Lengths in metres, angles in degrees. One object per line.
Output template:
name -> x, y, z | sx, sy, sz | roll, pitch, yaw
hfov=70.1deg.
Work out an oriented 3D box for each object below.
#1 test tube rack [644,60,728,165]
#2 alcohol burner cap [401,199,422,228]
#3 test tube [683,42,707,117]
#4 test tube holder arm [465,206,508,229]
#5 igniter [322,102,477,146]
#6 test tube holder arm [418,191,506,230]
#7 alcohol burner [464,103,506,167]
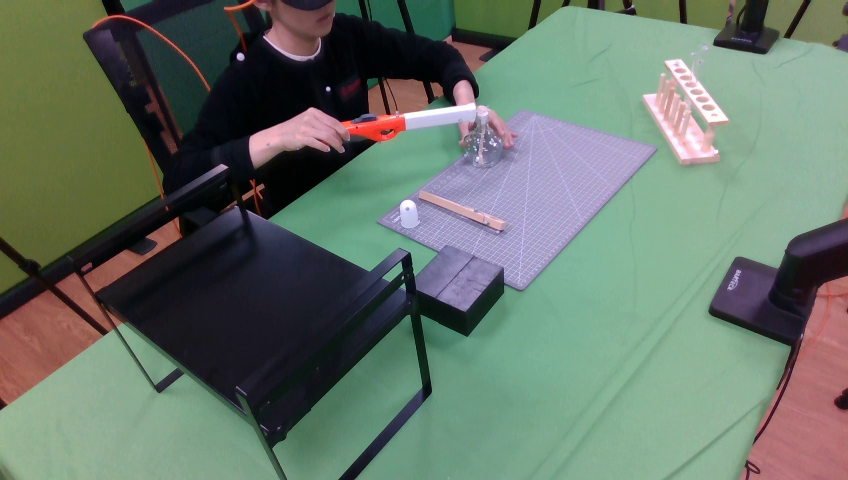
test tube rack -> 0.485, -0.246, 1.139 | 0.067, 0.085, 0.241 | -5, 41, 4
alcohol burner cap -> -0.022, -0.047, 1.014 | 0.034, 0.048, 0.033 | -4, 42, 4
test tube -> 0.497, -0.292, 1.114 | 0.017, 0.151, 0.017 | -4, 44, 4
test tube holder arm -> 0.100, -0.038, 1.005 | 0.087, 0.015, 0.010 | 23, 14, 32
igniter -> -0.043, -0.204, 1.063 | 0.277, 0.057, 0.025 | -11, 47, -6
test tube holder arm -> 0.061, -0.052, 1.024 | 0.177, 0.015, 0.013 | 23, 14, 31
alcohol burner -> 0.111, -0.196, 1.111 | 0.078, 0.119, 0.077 | -5, 40, 5
